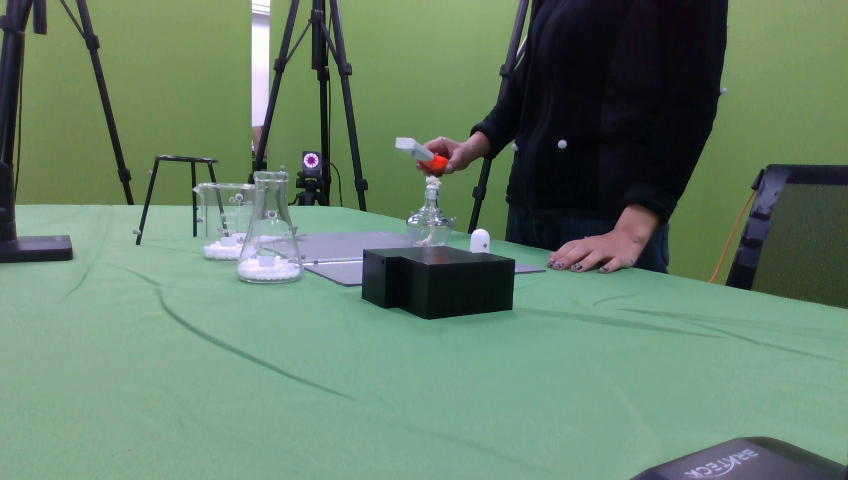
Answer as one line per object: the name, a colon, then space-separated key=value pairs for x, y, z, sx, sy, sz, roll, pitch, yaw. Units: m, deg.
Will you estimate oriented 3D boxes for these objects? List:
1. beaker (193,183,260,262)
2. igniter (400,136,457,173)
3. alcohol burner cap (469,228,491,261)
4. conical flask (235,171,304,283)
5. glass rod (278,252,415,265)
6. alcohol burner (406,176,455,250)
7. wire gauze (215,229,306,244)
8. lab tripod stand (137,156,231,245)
beaker: x=-0.262 y=-0.025 z=0.806 sx=0.084 sy=0.100 sz=0.073 roll=-3 pitch=9 yaw=-30
igniter: x=0.013 y=-0.154 z=1.108 sx=0.057 sy=0.025 sz=0.277 roll=7 pitch=-1 yaw=16
alcohol burner cap: x=0.082 y=0.006 z=0.878 sx=0.034 sy=0.048 sz=0.034 roll=3 pitch=7 yaw=0
conical flask: x=-0.172 y=-0.016 z=0.677 sx=0.075 sy=0.122 sz=0.075 roll=2 pitch=7 yaw=0
glass rod: x=-0.097 y=0.024 z=0.805 sx=0.201 sy=0.008 sz=0.008 roll=-3 pitch=9 yaw=-33
alcohol burner: x=0.011 y=-0.044 z=0.963 sx=0.078 sy=0.119 sz=0.078 roll=4 pitch=6 yaw=0
wire gauze: x=-0.273 y=-0.009 z=1.013 sx=0.122 sy=0.011 sz=0.124 roll=-2 pitch=9 yaw=-33
lab tripod stand: x=-0.358 y=-0.061 z=0.927 sx=0.148 sy=0.131 sz=0.148 roll=4 pitch=6 yaw=0
